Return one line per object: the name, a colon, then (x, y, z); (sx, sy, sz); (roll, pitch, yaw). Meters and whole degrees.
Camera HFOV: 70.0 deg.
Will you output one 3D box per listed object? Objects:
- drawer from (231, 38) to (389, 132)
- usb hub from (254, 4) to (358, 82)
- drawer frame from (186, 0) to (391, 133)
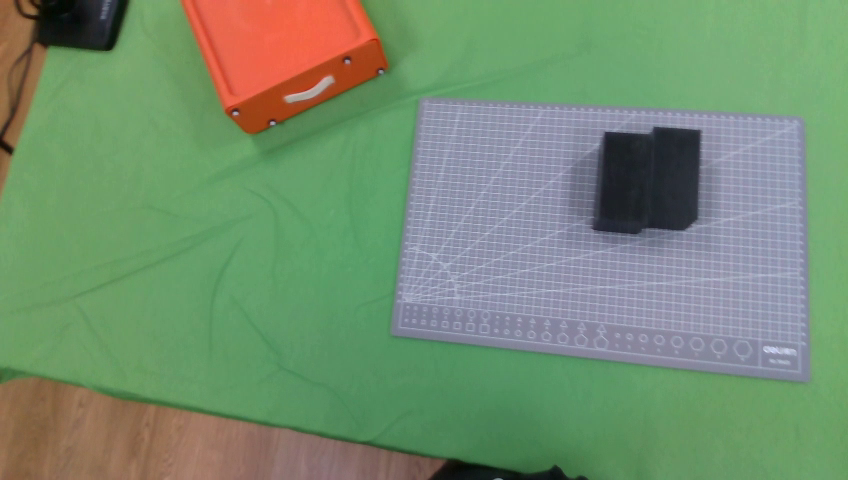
drawer: (-0.175, -0.271, 0.765); (0.194, 0.074, 0.210); (-26, 73, 1)
usb hub: (-0.150, -0.249, 0.766); (0.125, 0.025, 0.049); (-20, 88, 10)
drawer frame: (-0.176, -0.274, 0.762); (0.201, 0.083, 0.212); (-26, 74, 1)
